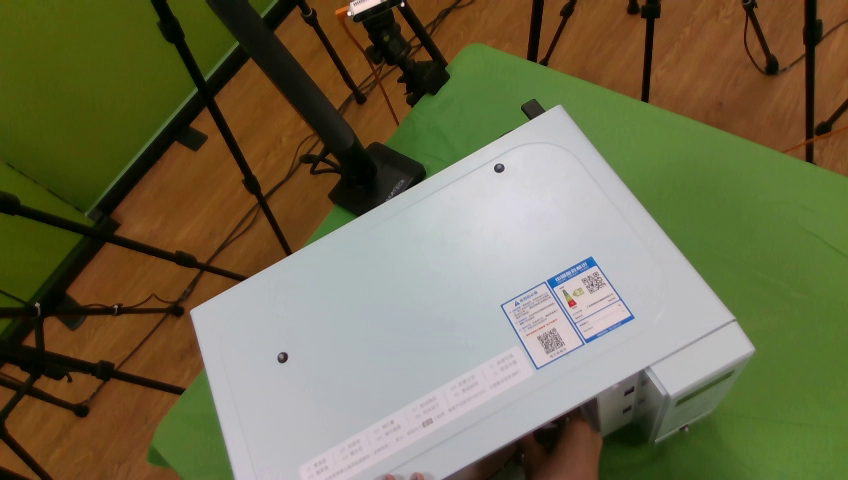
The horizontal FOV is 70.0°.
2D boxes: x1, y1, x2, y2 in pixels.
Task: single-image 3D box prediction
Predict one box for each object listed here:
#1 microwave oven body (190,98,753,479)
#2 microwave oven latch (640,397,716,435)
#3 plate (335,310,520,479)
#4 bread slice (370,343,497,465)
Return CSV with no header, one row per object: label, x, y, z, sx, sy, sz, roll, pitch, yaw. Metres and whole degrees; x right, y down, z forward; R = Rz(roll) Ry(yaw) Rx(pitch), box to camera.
microwave oven body,0.036,0.116,0.657,0.442,0.263,0.322,-30,60,1
microwave oven latch,0.278,0.183,0.663,0.079,0.030,0.030,-28,60,2
plate,0.005,0.182,0.683,0.207,0.039,0.206,-5,62,10
bread slice,0.003,0.179,0.695,0.131,0.019,0.104,25,66,14
